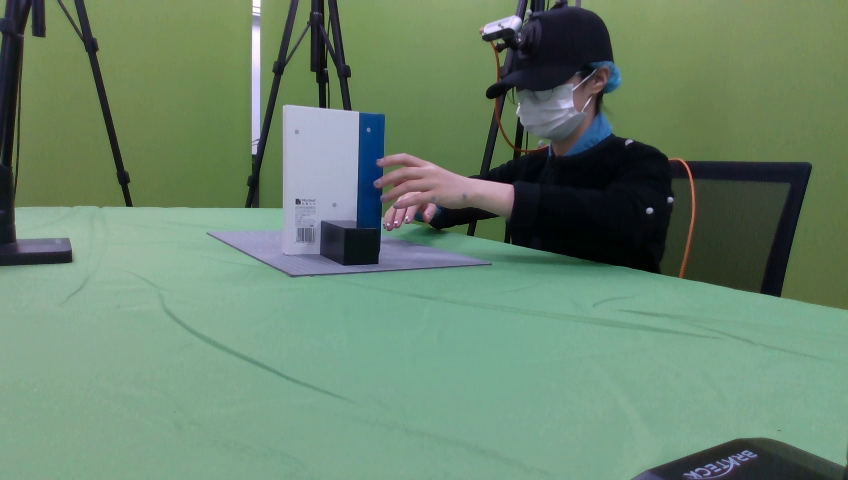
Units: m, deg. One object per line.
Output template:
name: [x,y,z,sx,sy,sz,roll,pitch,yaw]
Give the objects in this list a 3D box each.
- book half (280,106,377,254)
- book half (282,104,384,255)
book half: [-0.137,-0.085,0.886,0.144,0.210,0.007,-1,8,-26]
book half: [-0.132,-0.084,0.881,0.149,0.210,0.016,-1,8,-27]
